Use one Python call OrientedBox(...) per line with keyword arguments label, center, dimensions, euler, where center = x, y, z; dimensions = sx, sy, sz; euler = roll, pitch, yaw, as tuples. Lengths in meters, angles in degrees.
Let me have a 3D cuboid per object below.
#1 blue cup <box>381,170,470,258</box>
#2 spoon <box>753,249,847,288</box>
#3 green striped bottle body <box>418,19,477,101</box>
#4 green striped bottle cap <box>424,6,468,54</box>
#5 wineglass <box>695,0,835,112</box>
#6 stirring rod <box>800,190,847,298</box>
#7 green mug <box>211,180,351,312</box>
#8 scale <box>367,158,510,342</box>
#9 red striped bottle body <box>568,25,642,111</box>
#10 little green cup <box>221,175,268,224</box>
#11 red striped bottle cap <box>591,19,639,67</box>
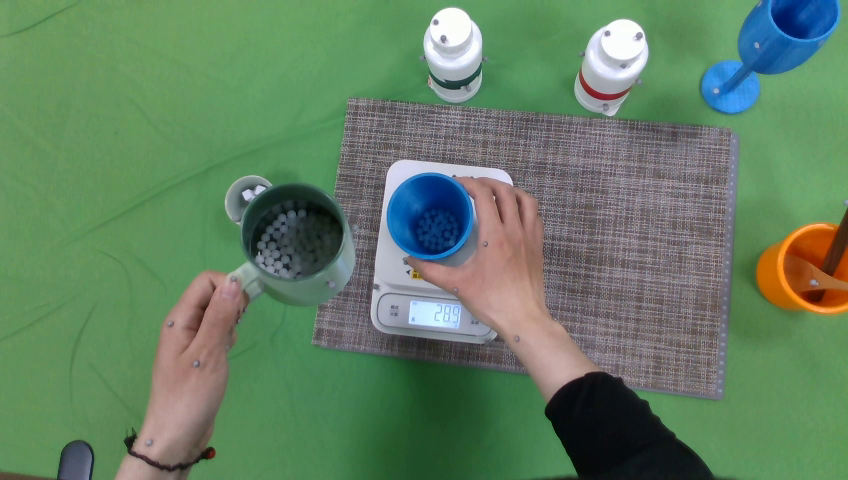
OrientedBox(label="blue cup", center=(0.006, -0.019, 0.625), dimensions=(0.092, 0.100, 0.092), euler=(-1, 83, 5))
OrientedBox(label="spoon", center=(0.421, 0.046, 0.591), dimensions=(0.022, 0.192, 0.041), euler=(19, 91, -36))
OrientedBox(label="green striped bottle body", center=(0.028, -0.205, 0.675), dimensions=(0.063, 0.119, 0.063), euler=(-1, 82, 5))
OrientedBox(label="green striped bottle cap", center=(0.023, -0.215, 0.620), dimensions=(0.044, 0.020, 0.044), euler=(-1, 81, 6))
OrientedBox(label="wineglass", center=(0.339, -0.193, 0.619), dimensions=(0.073, 0.173, 0.073), euler=(-1, 81, 6))
OrientedBox(label="stirring rod", center=(0.409, -0.008, 0.599), dimensions=(0.014, 0.178, 0.006), euler=(15, 43, 22))
OrientedBox(label="green mug", center=(-0.119, 0.014, 0.497), dimensions=(0.125, 0.105, 0.092), euler=(-41, 86, -14))
OrientedBox(label="scale", center=(0.016, 0.010, 0.686), dimensions=(0.148, 0.031, 0.200), euler=(6, 83, 6))
OrientedBox(label="red striped bottle body", center=(0.196, -0.190, 0.658), dimensions=(0.063, 0.120, 0.063), euler=(-1, 82, 5))
OrientedBox(label="little green cup", center=(-0.201, -0.042, 0.712), dimensions=(0.061, 0.039, 0.061), euler=(-1, 82, 4))
OrientedBox(label="red striped bottle cap", center=(0.191, -0.198, 0.606), dimensions=(0.044, 0.018, 0.044), euler=(-1, 79, 5))
